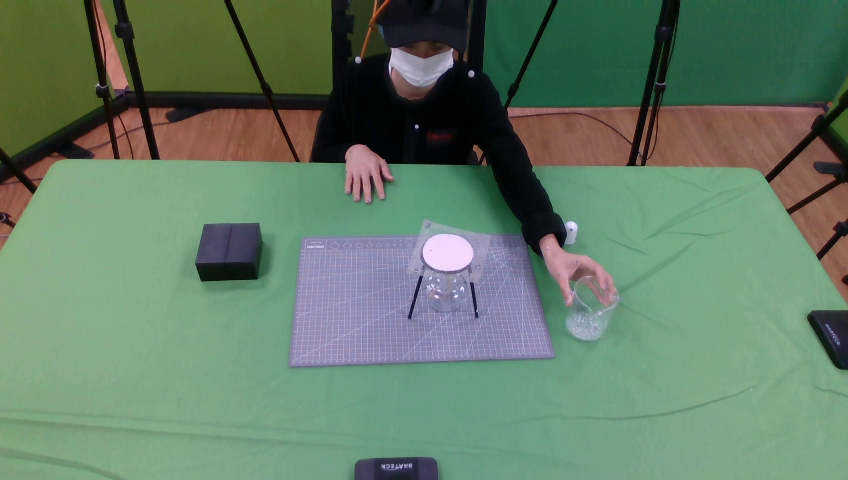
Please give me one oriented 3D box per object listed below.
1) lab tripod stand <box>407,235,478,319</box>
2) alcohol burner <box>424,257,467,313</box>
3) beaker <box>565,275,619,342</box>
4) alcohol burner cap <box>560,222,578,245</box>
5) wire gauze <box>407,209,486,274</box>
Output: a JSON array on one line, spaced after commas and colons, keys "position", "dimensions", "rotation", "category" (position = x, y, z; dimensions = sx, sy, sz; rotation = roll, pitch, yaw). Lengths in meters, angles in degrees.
[{"position": [0.032, 0.065, 1.057], "dimensions": [0.148, 0.132, 0.147], "rotation": [1, 45, -1], "category": "lab tripod stand"}, {"position": [0.038, 0.072, 1.064], "dimensions": [0.078, 0.120, 0.077], "rotation": [1, 47, -1], "category": "alcohol burner"}, {"position": [0.286, 0.124, 1.044], "dimensions": [0.074, 0.101, 0.083], "rotation": [7, 46, 5], "category": "beaker"}, {"position": [0.295, -0.016, 1.224], "dimensions": [0.034, 0.048, 0.033], "rotation": [2, 47, -2], "category": "alcohol burner cap"}, {"position": [0.036, 0.003, 1.001], "dimensions": [0.125, 0.011, 0.120], "rotation": [-7, 52, -1], "category": "wire gauze"}]
